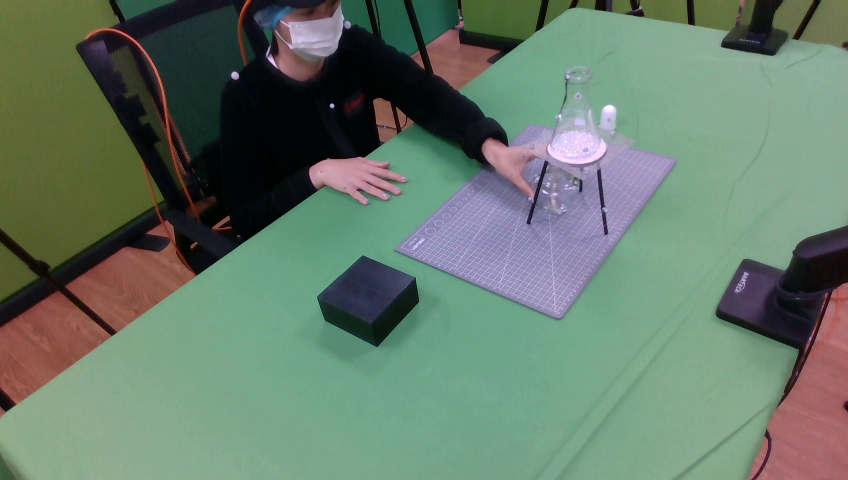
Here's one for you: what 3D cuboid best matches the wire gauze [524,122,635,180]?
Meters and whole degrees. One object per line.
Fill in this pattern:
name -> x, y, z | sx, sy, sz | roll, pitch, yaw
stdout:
wire gauze -> 0.233, -0.142, 0.913 | 0.122, 0.011, 0.124 | -31, 42, -26

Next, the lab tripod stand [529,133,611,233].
lab tripod stand -> 0.236, -0.088, 0.953 | 0.148, 0.132, 0.147 | -5, 42, 5

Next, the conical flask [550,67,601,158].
conical flask -> 0.221, -0.186, 0.875 | 0.075, 0.122, 0.075 | -5, 40, 5

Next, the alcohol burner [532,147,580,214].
alcohol burner -> 0.217, -0.102, 0.987 | 0.078, 0.119, 0.077 | -3, 41, 3

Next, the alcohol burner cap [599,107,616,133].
alcohol burner cap -> 0.361, -0.238, 1.189 | 0.034, 0.048, 0.033 | -4, 39, 4
